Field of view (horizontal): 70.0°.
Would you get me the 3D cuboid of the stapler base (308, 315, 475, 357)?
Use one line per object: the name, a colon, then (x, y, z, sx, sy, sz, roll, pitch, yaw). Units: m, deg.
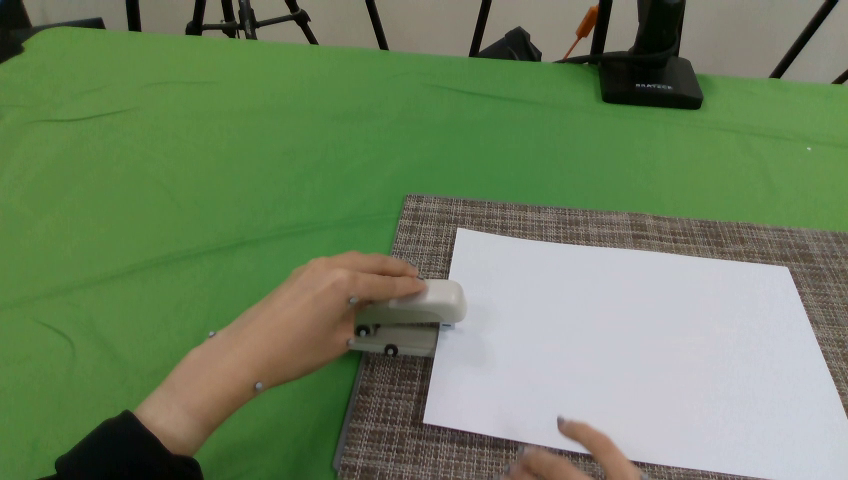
stapler base: (-0.025, 0.064, 0.475, 0.130, 0.024, 0.041, 4, 41, 5)

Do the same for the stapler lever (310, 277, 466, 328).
stapler lever: (-0.027, 0.046, 0.457, 0.118, 0.040, 0.026, 3, 41, 6)
